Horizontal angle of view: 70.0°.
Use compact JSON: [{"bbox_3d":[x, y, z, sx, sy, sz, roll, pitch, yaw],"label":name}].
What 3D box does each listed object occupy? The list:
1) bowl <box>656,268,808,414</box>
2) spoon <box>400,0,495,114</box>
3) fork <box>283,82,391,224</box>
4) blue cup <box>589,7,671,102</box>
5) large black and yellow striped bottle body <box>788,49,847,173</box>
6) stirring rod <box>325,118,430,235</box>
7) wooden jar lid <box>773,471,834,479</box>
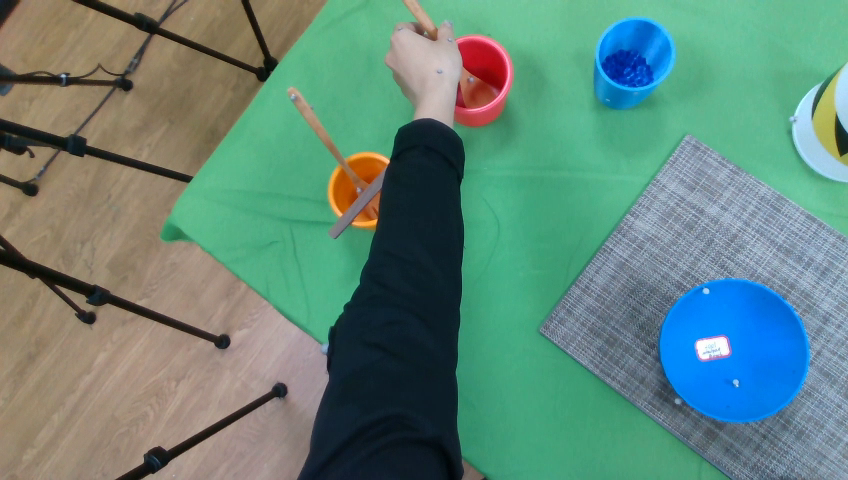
[{"bbox_3d":[0.327,0.111,0.670,0.151,0.077,0.151,-1,83,8],"label":"bowl"},{"bbox_3d":[0.024,-0.228,0.722,0.041,0.021,0.196,-43,123,0],"label":"spoon"},{"bbox_3d":[-0.101,-0.099,0.719,0.028,0.018,0.209,-28,124,12],"label":"fork"},{"bbox_3d":[0.233,-0.207,0.712,0.092,0.100,0.092,-1,85,8],"label":"blue cup"},{"bbox_3d":[0.486,-0.153,0.630,0.130,0.184,0.130,-1,83,8],"label":"large black and yellow striped bottle body"},{"bbox_3d":[-0.055,-0.074,0.708,0.014,0.006,0.176,41,90,8],"label":"stirring rod"},{"bbox_3d":[0.418,0.306,0.664,0.108,0.021,0.108,-1,87,12],"label":"wooden jar lid"}]
